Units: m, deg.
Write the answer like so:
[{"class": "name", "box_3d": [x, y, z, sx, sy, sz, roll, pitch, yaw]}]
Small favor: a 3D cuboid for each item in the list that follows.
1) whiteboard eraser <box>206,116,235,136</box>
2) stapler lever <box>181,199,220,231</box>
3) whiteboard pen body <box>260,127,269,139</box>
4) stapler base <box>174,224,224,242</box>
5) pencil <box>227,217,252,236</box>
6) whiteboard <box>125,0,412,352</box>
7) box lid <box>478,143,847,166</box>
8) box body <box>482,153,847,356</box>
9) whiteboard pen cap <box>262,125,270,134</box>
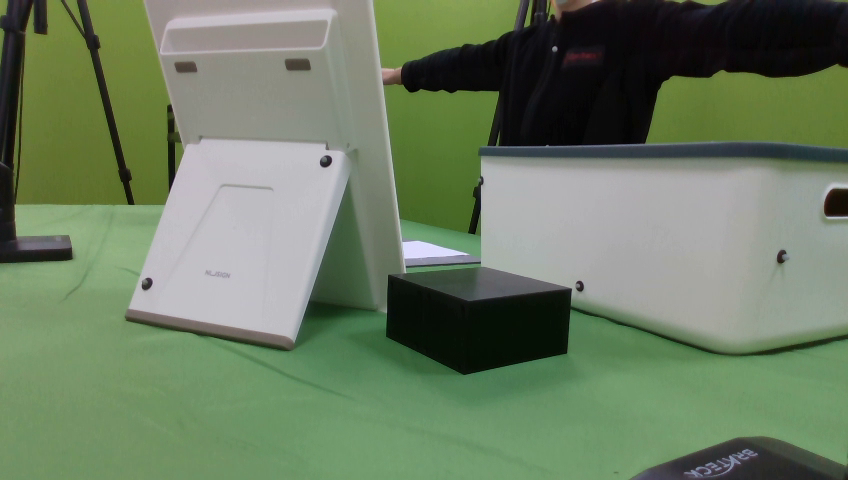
[{"class": "whiteboard eraser", "box_3d": [-0.450, -0.252, 1.335, 0.056, 0.042, 0.112, 1, 7, -22]}, {"class": "stapler lever", "box_3d": [-0.346, -0.040, 0.942, 0.027, 0.040, 0.118, 2, 8, -3]}, {"class": "whiteboard pen body", "box_3d": [-0.366, -0.247, 1.392, 0.017, 0.017, 0.140, 0, 3, -17]}, {"class": "stapler base", "box_3d": [-0.348, -0.014, 0.947, 0.041, 0.024, 0.130, 2, 7, -3]}, {"class": "pencil", "box_3d": [-0.333, -0.024, 1.092, 0.012, 0.012, 0.193, 2, 10, -5]}, {"class": "whiteboard", "box_3d": [-0.151, -0.049, 0.472, 0.216, 0.305, 0.144, 6, 27, 24]}, {"class": "box lid", "box_3d": [0.256, -0.084, 0.628, 0.265, 0.015, 0.369, -2, 8, -29]}, {"class": "box body", "box_3d": [0.252, -0.011, 0.639, 0.255, 0.160, 0.362, -1, 8, -30]}, {"class": "whiteboard pen cap", "box_3d": [-0.349, -0.244, 1.337, 0.018, 0.018, 0.033, 0, 2, -17]}]
